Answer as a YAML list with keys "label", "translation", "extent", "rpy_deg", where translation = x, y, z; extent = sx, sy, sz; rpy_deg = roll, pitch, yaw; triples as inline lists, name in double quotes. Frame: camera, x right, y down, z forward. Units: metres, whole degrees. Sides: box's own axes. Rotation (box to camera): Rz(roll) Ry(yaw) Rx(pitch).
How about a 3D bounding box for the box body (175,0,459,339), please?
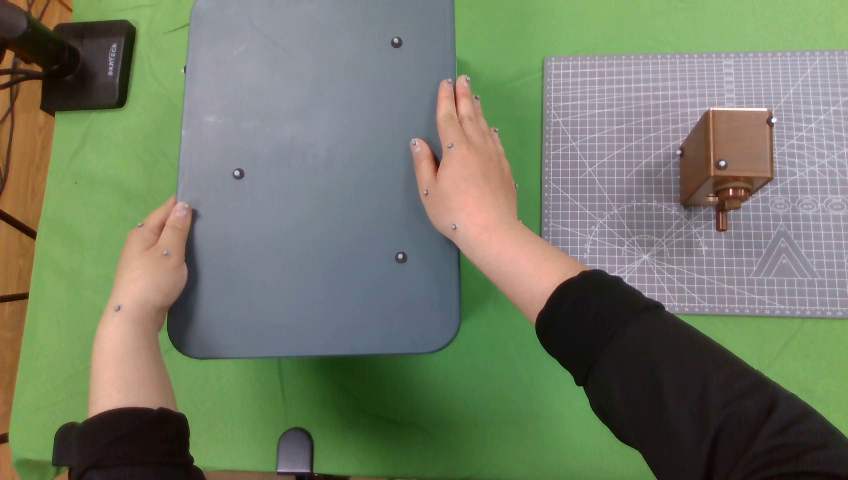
- label: "box body"
  translation: [-0.092, -0.075, 0.640]
  extent: [0.254, 0.161, 0.362]
  rpy_deg: [-2, 78, 7]

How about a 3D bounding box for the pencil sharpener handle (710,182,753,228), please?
- label: "pencil sharpener handle"
  translation: [0.296, -0.033, 0.590]
  extent: [0.036, 0.068, 0.030]
  rpy_deg: [0, 78, 14]

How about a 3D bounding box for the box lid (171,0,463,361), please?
- label: "box lid"
  translation: [-0.100, -0.079, 0.560]
  extent: [0.263, 0.015, 0.370]
  rpy_deg: [-3, 79, 6]

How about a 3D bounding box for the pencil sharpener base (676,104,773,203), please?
- label: "pencil sharpener base"
  translation: [0.299, -0.080, 0.611]
  extent: [0.061, 0.107, 0.076]
  rpy_deg: [1, 79, 8]
